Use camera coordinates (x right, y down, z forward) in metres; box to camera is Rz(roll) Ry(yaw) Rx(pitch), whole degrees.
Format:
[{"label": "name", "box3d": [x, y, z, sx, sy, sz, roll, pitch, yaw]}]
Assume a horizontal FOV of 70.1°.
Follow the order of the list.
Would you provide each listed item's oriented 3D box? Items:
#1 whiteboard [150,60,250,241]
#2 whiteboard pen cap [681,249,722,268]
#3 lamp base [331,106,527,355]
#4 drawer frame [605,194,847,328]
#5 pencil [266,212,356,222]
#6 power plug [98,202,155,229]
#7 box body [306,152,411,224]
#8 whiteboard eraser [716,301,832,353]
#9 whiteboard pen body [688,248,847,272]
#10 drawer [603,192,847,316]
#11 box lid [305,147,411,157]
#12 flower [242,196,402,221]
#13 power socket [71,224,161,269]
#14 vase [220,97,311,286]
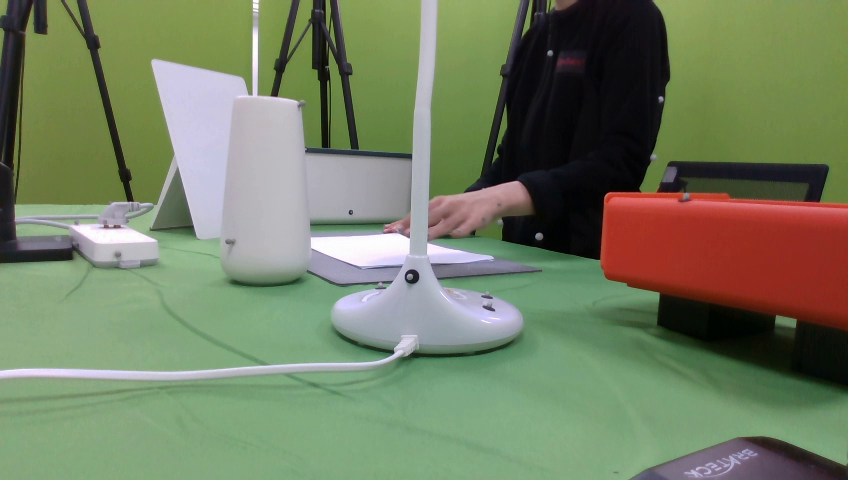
[{"label": "whiteboard", "box3d": [-0.408, -0.139, 1.093, 0.143, 0.305, 0.218, -15, -1, 26]}, {"label": "whiteboard pen cap", "box3d": [0.250, 0.017, 0.544, 0.033, 0.018, 0.018, 2, 7, 25]}, {"label": "lamp base", "box3d": [0.006, -0.012, 0.478, 0.161, 0.180, 0.179, 2, 10, 2]}, {"label": "drawer frame", "box3d": [0.298, 0.007, 0.497, 0.203, 0.082, 0.212, -1, 7, -34]}, {"label": "pencil", "box3d": [-0.244, -0.049, 1.319, 0.195, 0.012, 0.012, 4, 7, -12]}, {"label": "power plug", "box3d": [-0.416, -0.027, 0.848, 0.073, 0.052, 0.035, 0, 7, -28]}, {"label": "box body", "box3d": [-0.230, -0.126, 1.371, 0.366, 0.160, 0.253, -2, 8, -33]}, {"label": "whiteboard eraser", "box3d": [0.256, 0.042, 0.472, 0.112, 0.042, 0.056, 43, 19, 30]}, {"label": "whiteboard pen body", "box3d": [0.304, 0.016, 0.520, 0.140, 0.017, 0.017, 3, 7, 26]}, {"label": "drawer", "box3d": [0.293, 0.002, 0.500, 0.195, 0.073, 0.210, -1, 8, -34]}, {"label": "box lid", "box3d": [-0.229, -0.200, 1.361, 0.373, 0.015, 0.262, -2, 9, -33]}, {"label": "flower", "box3d": [-0.231, -0.065, 1.372, 0.362, 0.038, 0.044, 6, 39, -2]}, {"label": "power socket", "box3d": [-0.408, 0.004, 0.793, 0.072, 0.032, 0.225, -2, 8, -38]}, {"label": "vase", "box3d": [-0.172, -0.052, 0.662, 0.098, 0.200, 0.098, 3, 8, 0]}]
